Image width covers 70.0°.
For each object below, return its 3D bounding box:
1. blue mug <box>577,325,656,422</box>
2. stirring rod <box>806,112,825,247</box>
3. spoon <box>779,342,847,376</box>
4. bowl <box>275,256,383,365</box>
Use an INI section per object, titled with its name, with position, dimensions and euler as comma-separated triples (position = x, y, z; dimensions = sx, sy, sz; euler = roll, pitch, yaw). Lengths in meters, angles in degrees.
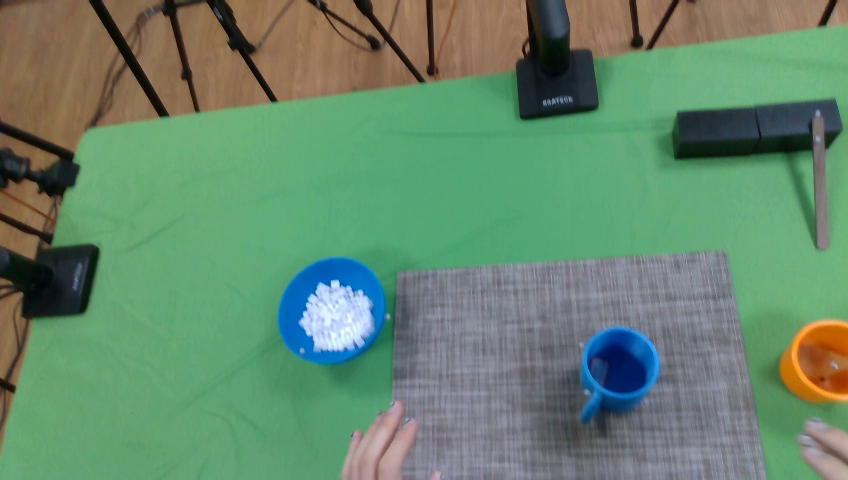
[blue mug]
position = 0.217, 0.168, 0.722
dimensions = 0.082, 0.107, 0.116
euler = 34, 78, 23
[stirring rod]
position = 0.510, -0.079, 0.788
dimensions = 0.014, 0.006, 0.176
euler = -2, 86, 9
[spoon]
position = 0.487, 0.134, 0.657
dimensions = 0.022, 0.193, 0.041
euler = 31, 70, -23
[bowl]
position = -0.121, 0.106, 0.841
dimensions = 0.151, 0.077, 0.150
euler = -4, 67, 10
